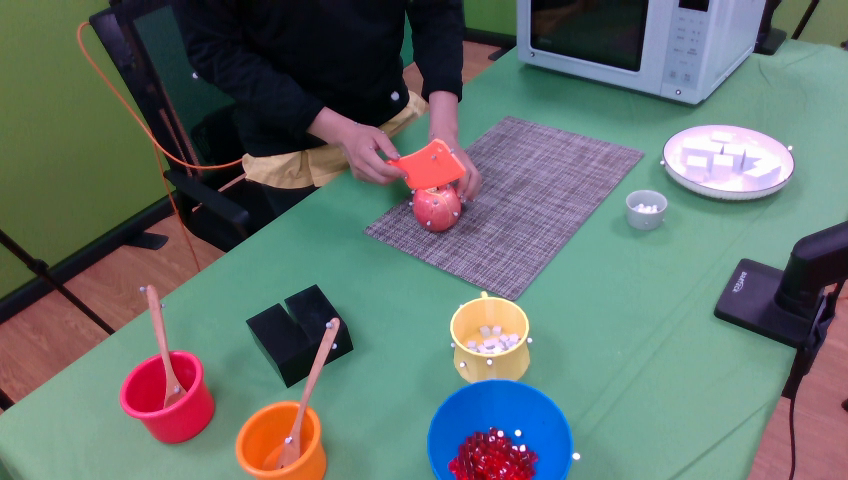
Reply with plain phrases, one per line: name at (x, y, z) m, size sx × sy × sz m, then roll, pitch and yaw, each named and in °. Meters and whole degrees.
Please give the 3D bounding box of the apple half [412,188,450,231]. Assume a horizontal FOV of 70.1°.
apple half at (0.005, -0.041, 0.976) m, size 0.080 × 0.081 × 0.033 m, roll 26°, pitch 50°, yaw 33°

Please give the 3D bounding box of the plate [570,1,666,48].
plate at (0.437, -0.485, 1.369) m, size 0.209 × 0.038 × 0.208 m, roll -4°, pitch 42°, yaw 4°

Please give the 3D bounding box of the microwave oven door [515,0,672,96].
microwave oven door at (0.344, -0.455, 1.259) m, size 0.353 × 0.245 × 0.039 m, roll 26°, pitch 51°, yaw 33°

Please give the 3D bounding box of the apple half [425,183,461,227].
apple half at (0.030, -0.063, 0.998) m, size 0.080 × 0.075 × 0.053 m, roll 23°, pitch 44°, yaw 39°

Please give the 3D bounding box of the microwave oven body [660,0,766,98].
microwave oven body at (0.473, -0.513, 1.317) m, size 0.438 × 0.261 × 0.327 m, roll 26°, pitch 51°, yaw 34°

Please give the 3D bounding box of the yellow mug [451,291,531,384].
yellow mug at (0.085, 0.120, 0.786) m, size 0.100 × 0.064 × 0.130 m, roll -7°, pitch 39°, yaw 1°

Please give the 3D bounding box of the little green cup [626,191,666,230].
little green cup at (0.352, -0.046, 0.963) m, size 0.061 × 0.039 × 0.061 m, roll -4°, pitch 40°, yaw 4°

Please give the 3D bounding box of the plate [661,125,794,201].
plate at (0.514, -0.128, 1.035) m, size 0.207 × 0.039 × 0.206 m, roll -4°, pitch 40°, yaw 4°

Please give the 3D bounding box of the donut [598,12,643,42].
donut at (0.437, -0.475, 1.347) m, size 0.099 × 0.048 × 0.098 m, roll -15°, pitch 27°, yaw 8°

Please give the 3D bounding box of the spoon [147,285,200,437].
spoon at (-0.318, 0.148, 0.754) m, size 0.042 × 0.021 × 0.193 m, roll -15°, pitch 85°, yaw -10°

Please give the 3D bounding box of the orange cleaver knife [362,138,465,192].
orange cleaver knife at (-0.020, -0.111, 0.962) m, size 0.210 × 0.077 × 0.012 m, roll -6°, pitch 30°, yaw 46°

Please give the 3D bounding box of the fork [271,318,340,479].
fork at (-0.132, 0.186, 0.676) m, size 0.028 × 0.019 × 0.207 m, roll 18°, pitch 90°, yaw 28°

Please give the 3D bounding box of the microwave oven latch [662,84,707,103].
microwave oven latch at (0.517, -0.296, 1.204) m, size 0.078 × 0.029 × 0.030 m, roll 27°, pitch 52°, yaw 35°

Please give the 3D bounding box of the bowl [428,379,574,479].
bowl at (0.082, 0.233, 0.644) m, size 0.151 × 0.077 × 0.150 m, roll -4°, pitch 40°, yaw 4°
